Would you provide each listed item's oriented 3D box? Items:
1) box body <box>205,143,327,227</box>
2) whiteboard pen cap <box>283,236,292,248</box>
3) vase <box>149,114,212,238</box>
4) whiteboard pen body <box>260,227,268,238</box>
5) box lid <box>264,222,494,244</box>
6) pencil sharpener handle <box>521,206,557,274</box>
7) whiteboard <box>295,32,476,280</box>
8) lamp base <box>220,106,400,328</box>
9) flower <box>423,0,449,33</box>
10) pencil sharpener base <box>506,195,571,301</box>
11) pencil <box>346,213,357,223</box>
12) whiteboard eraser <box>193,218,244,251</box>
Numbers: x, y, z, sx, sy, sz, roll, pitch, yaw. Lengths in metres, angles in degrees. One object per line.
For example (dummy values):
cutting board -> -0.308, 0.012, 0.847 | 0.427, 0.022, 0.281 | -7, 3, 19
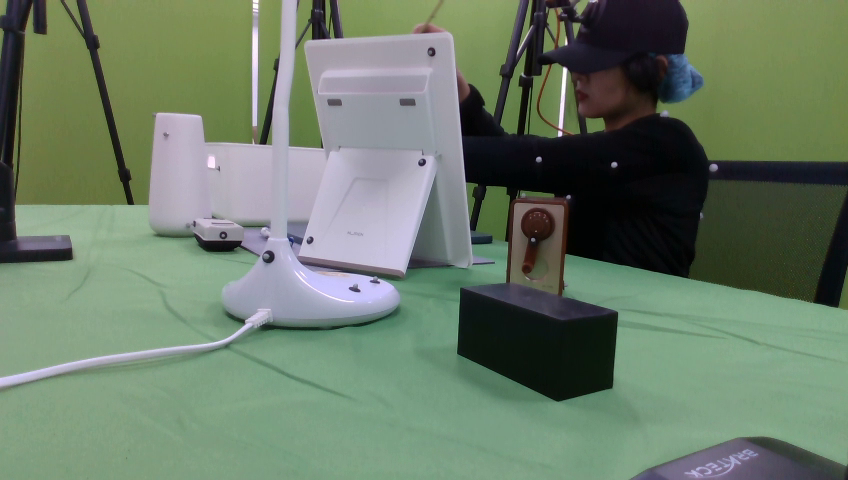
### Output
box body -> -0.276, -0.122, 1.320 | 0.366, 0.160, 0.253 | -2, 9, -30
whiteboard pen cap -> -0.211, 0.003, 0.913 | 0.018, 0.018, 0.033 | -2, 6, -28
vase -> -0.405, -0.106, 1.005 | 0.098, 0.200, 0.098 | 2, 6, 0
whiteboard pen body -> -0.239, -0.005, 0.964 | 0.017, 0.017, 0.140 | -2, 9, -28
box lid -> -0.081, -0.014, 1.117 | 0.373, 0.015, 0.262 | -2, 9, -32
pencil sharpener handle -> 0.112, 0.000, 0.611 | 0.036, 0.067, 0.031 | 13, 10, 11
whiteboard -> -0.076, -0.084, 0.747 | 0.216, 0.305, 0.144 | 7, 28, 29
lamp base -> -0.101, -0.023, 0.531 | 0.160, 0.180, 0.179 | 4, 10, 10
flower -> -0.012, -0.374, 1.154 | 0.044, 0.361, 0.038 | 19, 29, -44
pencil sharpener base -> 0.126, 0.007, 0.662 | 0.061, 0.107, 0.077 | 4, 8, 13
pencil -> -0.161, -0.052, 1.364 | 0.012, 0.012, 0.194 | 2, 6, -2
whiteboard eraser -> -0.307, -0.009, 0.900 | 0.056, 0.042, 0.112 | -4, 10, -28
